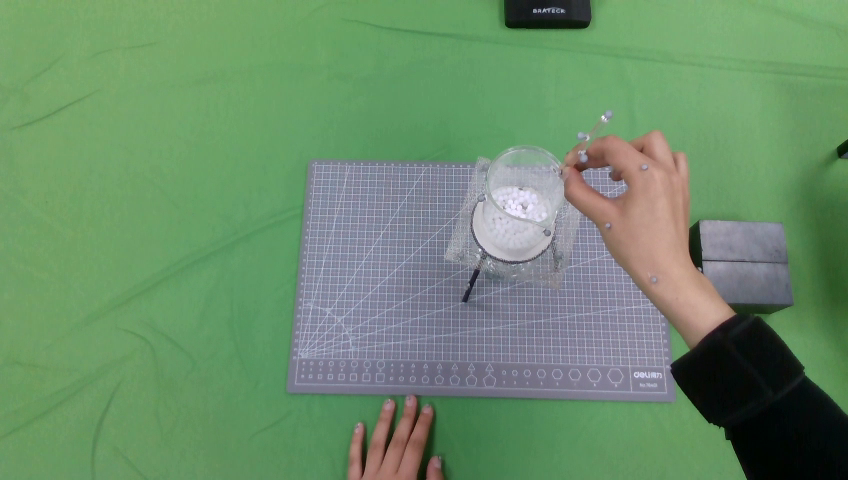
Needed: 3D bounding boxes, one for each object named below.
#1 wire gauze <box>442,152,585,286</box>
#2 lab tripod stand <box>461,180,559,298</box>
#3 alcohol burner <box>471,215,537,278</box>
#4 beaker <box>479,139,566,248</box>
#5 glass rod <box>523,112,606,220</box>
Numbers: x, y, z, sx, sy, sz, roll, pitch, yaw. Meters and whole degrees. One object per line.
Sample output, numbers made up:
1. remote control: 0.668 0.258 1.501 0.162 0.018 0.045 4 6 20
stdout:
1. wire gauze: 0.095 -0.023 0.626 0.121 0.011 0.124 18 71 5
2. lab tripod stand: 0.090 -0.005 0.690 0.148 0.132 0.147 -1 72 2
3. alcohol burner: 0.094 0.003 0.698 0.078 0.120 0.077 0 73 2
4. beaker: 0.091 -0.037 0.580 0.074 0.101 0.083 -25 74 -7
5. glass rod: 0.115 -0.056 0.523 0.008 0.200 0.008 2 70 -7
